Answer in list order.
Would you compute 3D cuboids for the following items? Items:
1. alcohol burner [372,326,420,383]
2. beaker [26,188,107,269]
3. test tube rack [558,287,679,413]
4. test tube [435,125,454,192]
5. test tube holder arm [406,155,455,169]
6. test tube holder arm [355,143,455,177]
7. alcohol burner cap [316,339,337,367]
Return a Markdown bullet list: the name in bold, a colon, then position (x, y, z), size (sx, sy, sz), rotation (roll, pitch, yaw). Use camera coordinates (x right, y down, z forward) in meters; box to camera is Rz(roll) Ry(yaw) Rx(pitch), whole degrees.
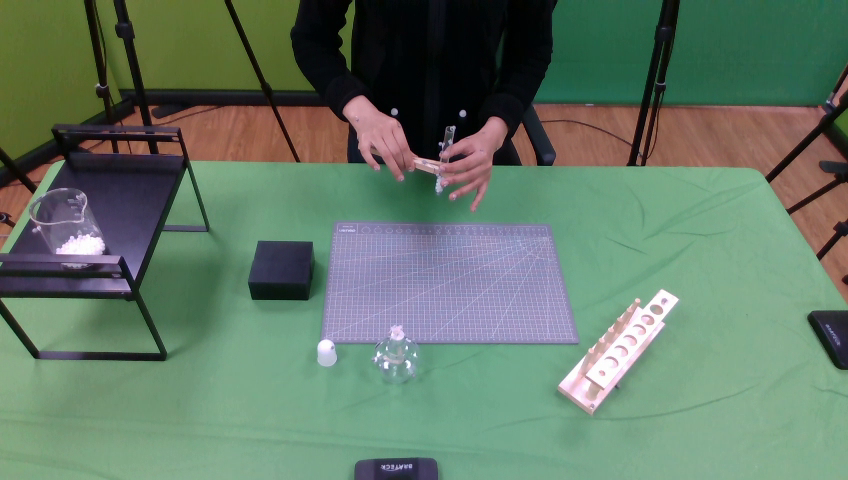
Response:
- **alcohol burner**: position (-0.044, 0.175, 0.961), size (0.078, 0.120, 0.077), rotation (1, 47, -1)
- **beaker**: position (-0.504, -0.013, 0.868), size (0.084, 0.101, 0.074), rotation (23, 49, 17)
- **test tube rack**: position (0.326, 0.170, 1.009), size (0.066, 0.085, 0.242), rotation (36, 54, 27)
- **test tube**: position (0.034, -0.137, 1.046), size (0.017, 0.151, 0.017), rotation (4, 51, -5)
- **test tube holder arm**: position (0.011, -0.134, 1.063), size (0.088, 0.015, 0.010), rotation (10, 42, -5)
- **test tube holder arm**: position (-0.033, -0.140, 1.058), size (0.178, 0.015, 0.013), rotation (15, 41, 1)
- **alcohol burner cap**: position (-0.161, 0.182, 0.995), size (0.034, 0.048, 0.033), rotation (2, 47, -2)
